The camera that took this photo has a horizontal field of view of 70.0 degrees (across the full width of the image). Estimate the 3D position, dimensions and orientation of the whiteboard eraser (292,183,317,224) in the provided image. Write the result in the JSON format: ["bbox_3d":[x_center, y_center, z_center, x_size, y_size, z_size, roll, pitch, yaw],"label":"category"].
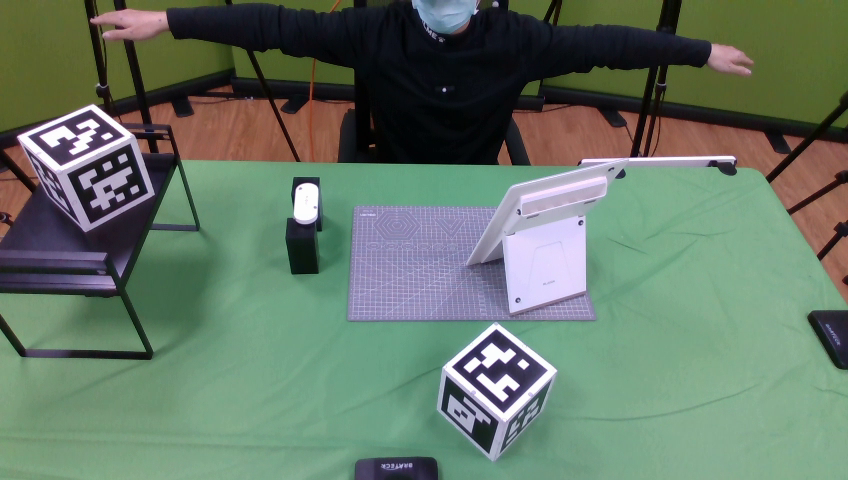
[{"bbox_3d":[-0.217,-0.068,1.108,0.041,0.019,0.100,-2,46,-4],"label":"whiteboard eraser"}]

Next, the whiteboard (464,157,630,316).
[{"bbox_3d":[0.224,0.014,1.043,0.217,0.306,0.143,-14,68,-17],"label":"whiteboard"}]
